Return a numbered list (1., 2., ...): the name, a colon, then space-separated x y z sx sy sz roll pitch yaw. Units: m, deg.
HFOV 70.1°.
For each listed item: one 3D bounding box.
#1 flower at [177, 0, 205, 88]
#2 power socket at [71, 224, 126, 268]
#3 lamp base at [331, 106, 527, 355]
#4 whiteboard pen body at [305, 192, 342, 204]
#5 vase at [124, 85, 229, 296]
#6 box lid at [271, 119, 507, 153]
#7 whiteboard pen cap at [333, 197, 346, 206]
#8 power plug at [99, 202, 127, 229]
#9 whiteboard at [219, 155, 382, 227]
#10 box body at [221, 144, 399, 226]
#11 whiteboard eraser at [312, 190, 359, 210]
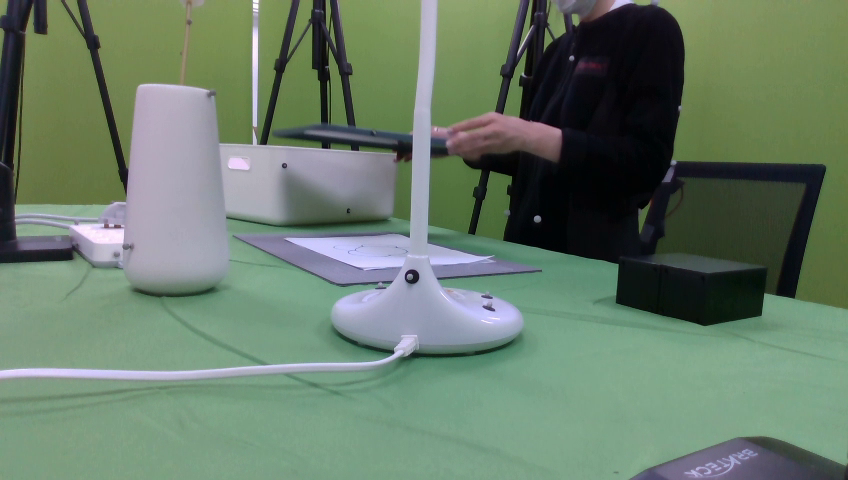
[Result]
1. flower: -0.243 -0.131 0.609 0.044 0.361 0.038 -5 -12 12
2. power socket: -0.409 0.004 0.793 0.072 0.032 0.225 -2 8 -37
3. lamp base: 0.006 -0.012 0.478 0.161 0.180 0.179 2 10 2
4. whiteboard pen body: -0.237 -0.099 1.429 0.017 0.017 0.140 -5 14 -45
5. vase: -0.244 -0.047 0.598 0.098 0.200 0.098 3 8 0
6. box lid: -0.065 -0.181 1.085 0.373 0.015 0.262 2 5 -30
7. whiteboard pen cap: -0.195 -0.089 1.390 0.033 0.018 0.018 12 12 43
8. power plug: -0.415 -0.026 0.848 0.073 0.052 0.035 6 5 -28
9. whiteboard: -0.276 -0.119 1.376 0.216 0.143 0.307 7 10 39
10. box body: -0.264 -0.129 1.380 0.253 0.160 0.366 8 9 39
11. whiteboard eraser: -0.222 -0.099 1.517 0.112 0.042 0.056 9 17 33
